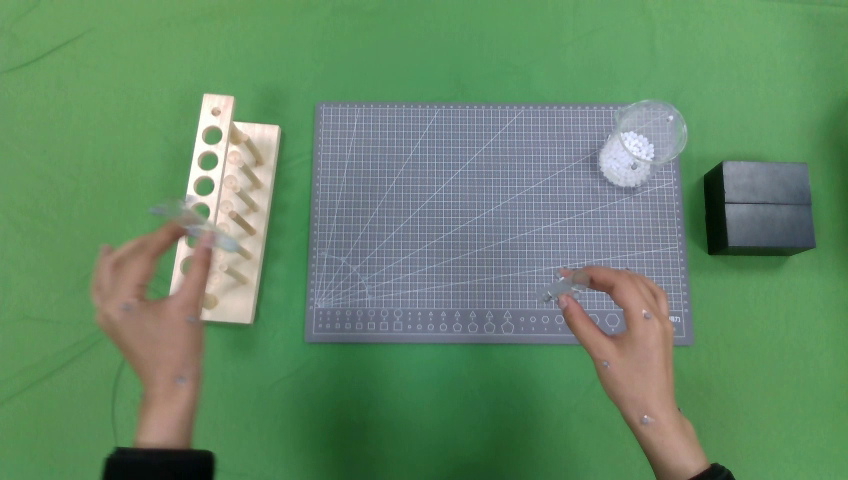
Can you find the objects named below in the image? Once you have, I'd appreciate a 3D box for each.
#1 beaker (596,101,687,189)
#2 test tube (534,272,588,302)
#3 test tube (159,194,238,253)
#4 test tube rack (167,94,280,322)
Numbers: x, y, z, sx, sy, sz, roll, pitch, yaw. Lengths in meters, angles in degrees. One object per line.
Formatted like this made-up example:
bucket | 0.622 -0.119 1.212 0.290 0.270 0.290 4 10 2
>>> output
beaker | 0.242 -0.106 0.699 0.084 0.100 0.074 32 79 8
test tube | 0.121 0.044 0.551 0.017 0.151 0.017 0 81 -1
test tube | -0.178 -0.010 0.494 0.017 0.151 0.017 0 78 -1
test tube rack | -0.223 -0.033 0.689 0.067 0.085 0.241 5 78 1
